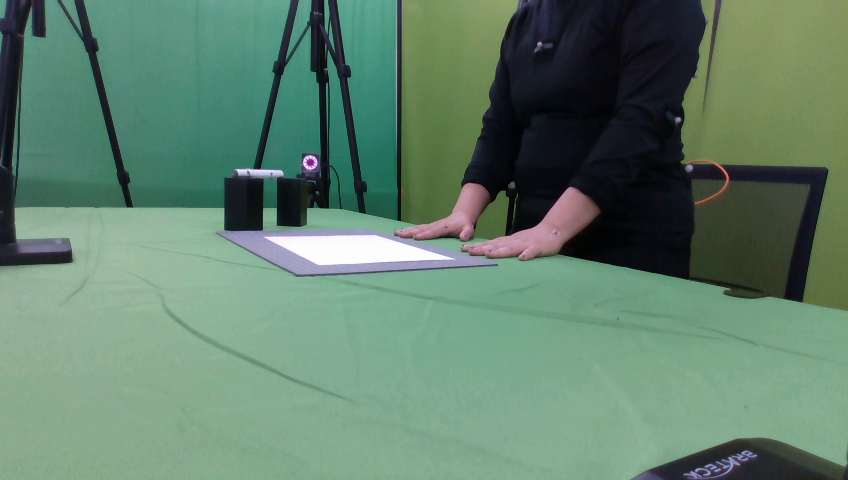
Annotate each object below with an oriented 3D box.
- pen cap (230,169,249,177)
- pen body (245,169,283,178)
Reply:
[{"bbox_3d":[-0.347,-0.125,1.138,0.017,0.017,0.038,6,8,21],"label":"pen cap"},{"bbox_3d":[-0.325,-0.130,1.195,0.017,0.017,0.144,6,7,22],"label":"pen body"}]
